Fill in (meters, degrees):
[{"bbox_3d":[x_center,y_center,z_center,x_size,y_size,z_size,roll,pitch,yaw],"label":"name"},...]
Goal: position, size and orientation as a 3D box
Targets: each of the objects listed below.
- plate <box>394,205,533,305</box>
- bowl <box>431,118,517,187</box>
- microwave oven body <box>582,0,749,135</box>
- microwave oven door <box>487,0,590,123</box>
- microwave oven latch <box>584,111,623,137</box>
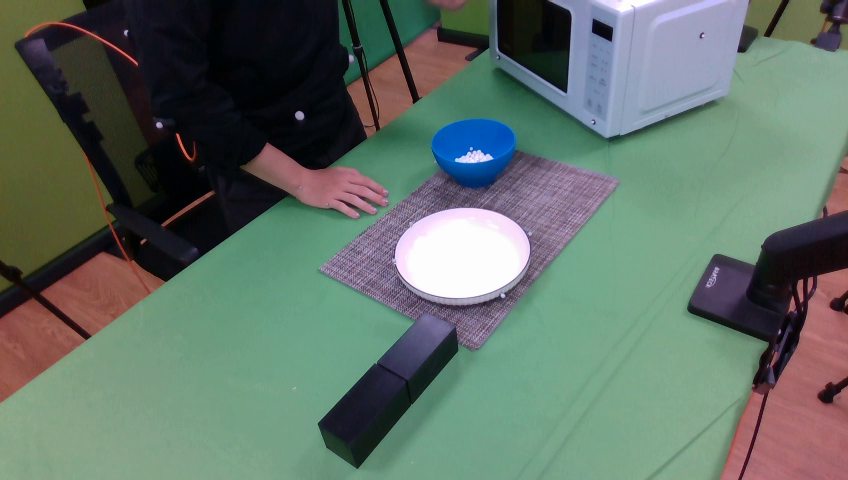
[{"bbox_3d":[0.059,0.025,0.915,0.207,0.039,0.206,-4,41,4],"label":"plate"},{"bbox_3d":[0.090,-0.147,1.080,0.151,0.077,0.150,-4,40,4],"label":"bowl"},{"bbox_3d":[0.382,-0.444,1.246,0.327,0.261,0.437,-22,42,-16],"label":"microwave oven body"},{"bbox_3d":[0.232,-0.420,1.231,0.039,0.245,0.352,-22,43,-16],"label":"microwave oven door"},{"bbox_3d":[0.337,-0.222,1.142,0.030,0.029,0.078,-21,42,-14],"label":"microwave oven latch"}]
